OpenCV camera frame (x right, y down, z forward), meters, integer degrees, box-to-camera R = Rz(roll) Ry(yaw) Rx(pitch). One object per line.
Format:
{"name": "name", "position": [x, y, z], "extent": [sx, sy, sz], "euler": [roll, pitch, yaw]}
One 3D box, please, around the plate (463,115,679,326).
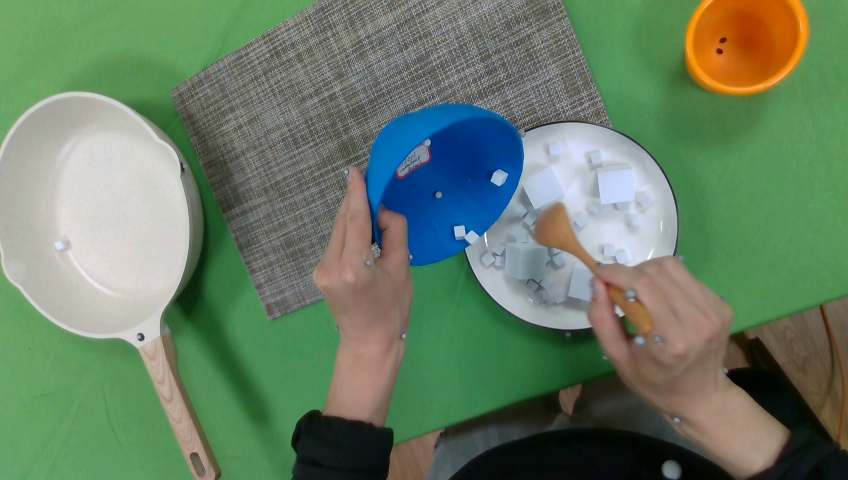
{"name": "plate", "position": [0.141, -0.018, 0.604], "extent": [0.207, 0.039, 0.208], "euler": [3, 101, 15]}

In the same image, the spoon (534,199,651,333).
{"name": "spoon", "position": [0.123, 0.013, 0.457], "extent": [0.022, 0.192, 0.042], "euler": [28, 106, -24]}

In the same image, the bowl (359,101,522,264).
{"name": "bowl", "position": [0.001, -0.061, 0.518], "extent": [0.151, 0.152, 0.076], "euler": [-54, 54, 17]}

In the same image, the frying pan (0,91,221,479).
{"name": "frying pan", "position": [-0.353, 0.063, 0.730], "extent": [0.306, 0.103, 0.486], "euler": [-27, 82, 19]}
